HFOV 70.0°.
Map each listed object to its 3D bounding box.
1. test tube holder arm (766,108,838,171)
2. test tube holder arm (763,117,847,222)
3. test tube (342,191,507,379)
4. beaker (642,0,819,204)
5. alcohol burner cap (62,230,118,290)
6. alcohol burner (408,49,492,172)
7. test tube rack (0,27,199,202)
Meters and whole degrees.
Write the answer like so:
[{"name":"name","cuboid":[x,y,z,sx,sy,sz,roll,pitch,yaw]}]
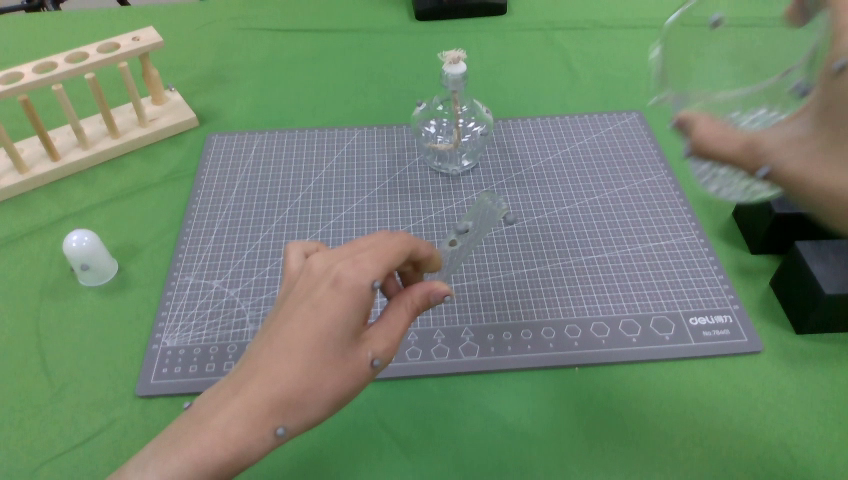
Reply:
[{"name":"test tube holder arm","cuboid":[0.315,-0.083,0.507,0.015,0.010,0.087,0,46,-7]},{"name":"test tube holder arm","cuboid":[0.318,-0.047,0.480,0.015,0.013,0.176,0,45,-7]},{"name":"test tube","cuboid":[-0.005,0.031,0.340,0.017,0.150,0.017,29,29,-18]},{"name":"beaker","cuboid":[0.164,-0.070,0.321,0.084,0.101,0.073,-36,47,11]},{"name":"alcohol burner cap","cuboid":[-0.271,0.013,0.487,0.034,0.048,0.033,0,47,0]},{"name":"alcohol burner","cuboid":[0.024,-0.120,0.550,0.078,0.120,0.077,1,48,0]},{"name":"test tube rack","cuboid":[-0.353,-0.114,0.574,0.242,0.086,0.066,-28,53,-23]}]
